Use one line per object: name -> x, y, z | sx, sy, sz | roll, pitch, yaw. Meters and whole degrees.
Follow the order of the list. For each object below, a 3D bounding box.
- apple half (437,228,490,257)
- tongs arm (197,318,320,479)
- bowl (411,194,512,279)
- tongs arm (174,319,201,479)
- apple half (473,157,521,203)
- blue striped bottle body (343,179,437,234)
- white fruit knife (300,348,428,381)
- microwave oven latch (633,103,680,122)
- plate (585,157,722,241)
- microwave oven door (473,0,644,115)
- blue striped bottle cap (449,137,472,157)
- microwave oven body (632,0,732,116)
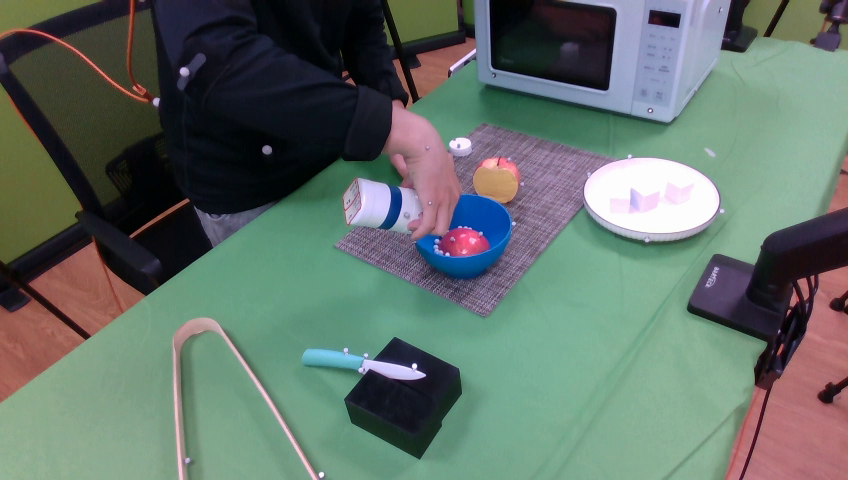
apple half -> 0.055, 0.002, 0.901 | 0.081, 0.033, 0.081 | -3, 41, 3
tongs arm -> -0.200, 0.207, 0.750 | 0.028, 0.028, 0.384 | -31, 45, -22
bowl -> 0.058, 0.005, 0.905 | 0.151, 0.077, 0.150 | -4, 40, 4
tongs arm -> -0.272, 0.234, 0.723 | 0.051, 0.026, 0.381 | -19, 40, -15
apple half -> 0.128, -0.107, 1.030 | 0.080, 0.075, 0.053 | 5, 38, 20
blue striped bottle body -> -0.043, -0.042, 0.815 | 0.122, 0.063, 0.062 | 7, 32, -30
white fruit knife -> -0.080, 0.154, 0.748 | 0.206, 0.027, 0.016 | 1, 20, 34
microwave oven latch -> 0.444, -0.249, 1.158 | 0.078, 0.029, 0.030 | 21, 49, 30
plate -> 0.367, -0.063, 0.979 | 0.207, 0.039, 0.206 | -4, 40, 4
microwave oven door -> 0.257, -0.396, 1.199 | 0.353, 0.245, 0.039 | 21, 48, 29
blue striped bottle cap -> 0.071, -0.180, 1.168 | 0.044, 0.021, 0.044 | -4, 42, 4
microwave oven body -> 0.377, -0.463, 1.267 | 0.438, 0.261, 0.327 | 21, 49, 30
